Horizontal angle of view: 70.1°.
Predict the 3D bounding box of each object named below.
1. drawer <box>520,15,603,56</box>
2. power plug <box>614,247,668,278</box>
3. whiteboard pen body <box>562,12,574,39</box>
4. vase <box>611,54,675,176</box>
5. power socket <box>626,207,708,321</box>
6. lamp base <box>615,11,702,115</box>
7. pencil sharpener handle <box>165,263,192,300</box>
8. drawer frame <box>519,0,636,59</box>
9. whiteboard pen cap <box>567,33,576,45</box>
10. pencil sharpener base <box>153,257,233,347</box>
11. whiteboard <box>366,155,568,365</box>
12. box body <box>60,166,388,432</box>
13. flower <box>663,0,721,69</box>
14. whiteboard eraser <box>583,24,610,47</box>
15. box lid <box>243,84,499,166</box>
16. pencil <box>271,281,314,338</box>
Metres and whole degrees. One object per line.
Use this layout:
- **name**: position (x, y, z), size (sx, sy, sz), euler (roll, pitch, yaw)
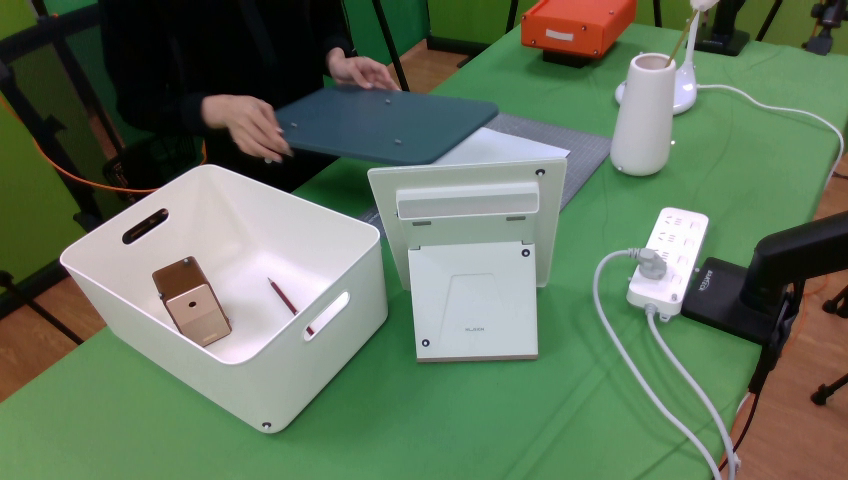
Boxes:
- **drawer**: position (0.359, -0.517, 1.416), size (0.193, 0.073, 0.212), euler (20, 47, 29)
- **power plug**: position (0.306, 0.031, 0.851), size (0.072, 0.053, 0.035), euler (24, 49, 33)
- **whiteboard pen body**: position (0.341, -0.507, 1.430), size (0.017, 0.017, 0.140), euler (-2, 41, 6)
- **vase**: position (0.377, -0.209, 1.031), size (0.098, 0.201, 0.097), euler (-3, 40, 3)
- **power socket**: position (0.359, 0.025, 0.886), size (0.072, 0.033, 0.227), euler (16, 46, 26)
- **lamp base**: position (0.484, -0.364, 1.211), size (0.180, 0.181, 0.159), euler (-15, 41, -14)
- **pencil sharpener handle**: position (-0.353, 0.054, 0.867), size (0.036, 0.068, 0.030), euler (-18, 40, -28)
- **drawer frame**: position (0.362, -0.518, 1.423), size (0.200, 0.083, 0.214), euler (19, 48, 29)
- **whiteboard pen cap**: position (0.339, -0.463, 1.390), size (0.018, 0.018, 0.033), euler (-2, 44, 6)
- **pencil sharpener base**: position (-0.321, 0.088, 0.843), size (0.061, 0.107, 0.076), euler (-27, 44, -20)
- **whiteboard**: position (0.059, 0.050, 0.738), size (0.217, 0.307, 0.143), euler (-2, 60, 5)
- **box body**: position (-0.256, 0.065, 0.827), size (0.361, 0.161, 0.255), euler (20, 48, 29)
- **flower**: position (0.379, -0.261, 0.965), size (0.044, 0.362, 0.038), euler (20, 52, 5)
- **whiteboard eraser**: position (0.407, -0.479, 1.423), size (0.055, 0.042, 0.113), euler (-3, 9, 20)
- **box lid**: position (-0.086, -0.198, 1.001), size (0.369, 0.015, 0.264), euler (14, 37, 28)
- **pencil**: position (-0.187, 0.106, 0.880), size (0.012, 0.012, 0.192), euler (-27, 41, -22)
